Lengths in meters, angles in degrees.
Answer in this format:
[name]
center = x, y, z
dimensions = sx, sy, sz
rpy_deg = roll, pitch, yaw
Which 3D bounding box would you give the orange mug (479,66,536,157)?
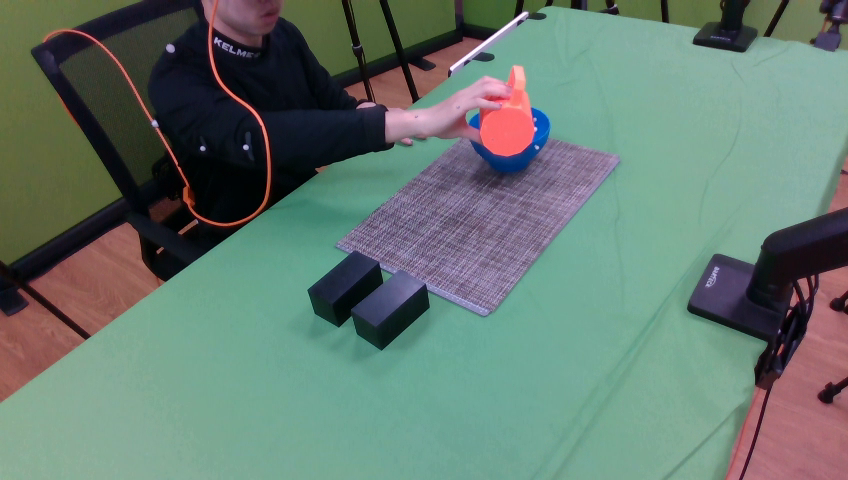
[orange mug]
center = 0.138, -0.212, 0.981
dimensions = 0.083, 0.126, 0.100
rpy_deg = 10, 32, -4

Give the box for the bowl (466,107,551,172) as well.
[bowl]
center = 0.155, -0.178, 1.105
dimensions = 0.151, 0.077, 0.150
rpy_deg = -3, 40, 3
